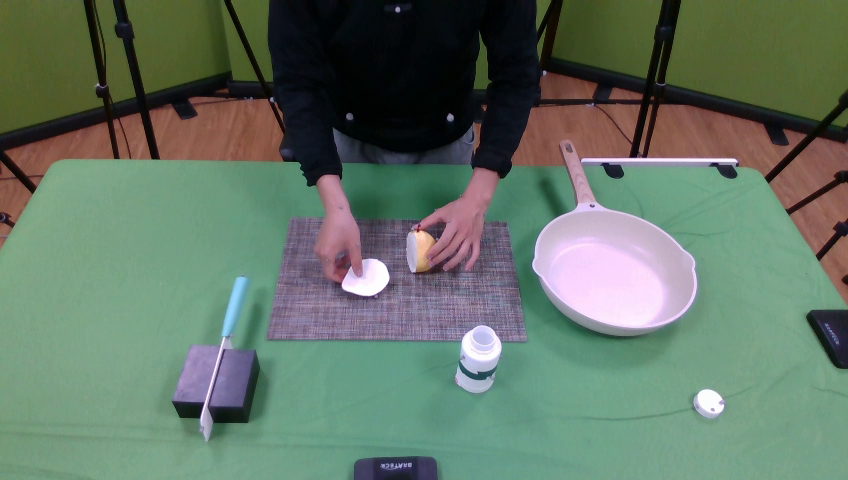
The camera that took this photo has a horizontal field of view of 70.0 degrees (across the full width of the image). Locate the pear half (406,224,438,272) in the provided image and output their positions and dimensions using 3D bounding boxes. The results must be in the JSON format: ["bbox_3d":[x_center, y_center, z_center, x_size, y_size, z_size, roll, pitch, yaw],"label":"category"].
[{"bbox_3d":[-0.002,0.007,1.124,0.056,0.110,0.076,-14,52,-15],"label":"pear half"}]

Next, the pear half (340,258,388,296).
[{"bbox_3d":[-0.110,0.073,1.106,0.088,0.031,0.070,-22,67,-13],"label":"pear half"}]

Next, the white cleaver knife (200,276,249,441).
[{"bbox_3d":[-0.321,0.177,0.972,0.021,0.066,0.284,7,48,-5],"label":"white cleaver knife"}]

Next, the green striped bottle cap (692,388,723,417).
[{"bbox_3d":[0.460,0.263,0.984,0.044,0.020,0.044,3,47,-3],"label":"green striped bottle cap"}]

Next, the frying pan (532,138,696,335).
[{"bbox_3d":[0.336,-0.024,1.190,0.307,0.103,0.484,-2,55,-7],"label":"frying pan"}]

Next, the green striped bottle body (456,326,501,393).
[{"bbox_3d":[0.086,0.185,0.959,0.063,0.120,0.063,2,46,-2],"label":"green striped bottle body"}]
